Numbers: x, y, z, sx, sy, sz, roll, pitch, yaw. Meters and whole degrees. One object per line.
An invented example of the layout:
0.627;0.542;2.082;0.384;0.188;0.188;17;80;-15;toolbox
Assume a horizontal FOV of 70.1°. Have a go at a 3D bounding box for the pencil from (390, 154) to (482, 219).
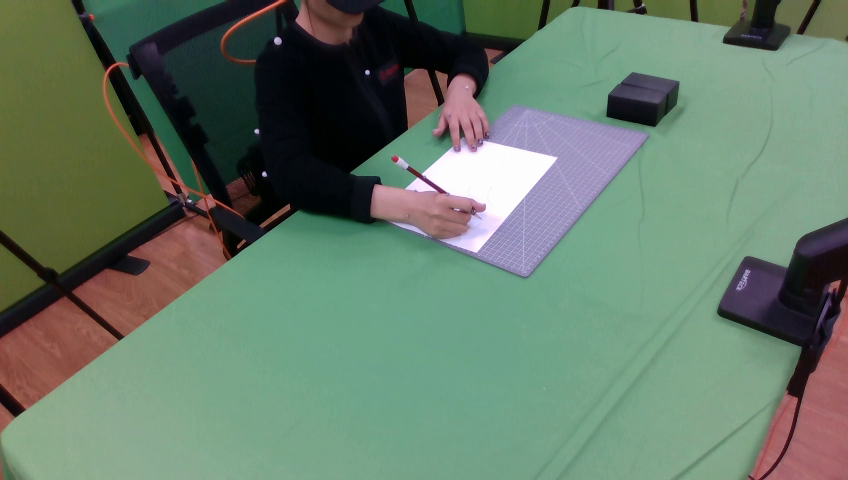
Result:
0.023;-0.082;0.963;0.012;0.195;0.012;-38;34;32;pencil
